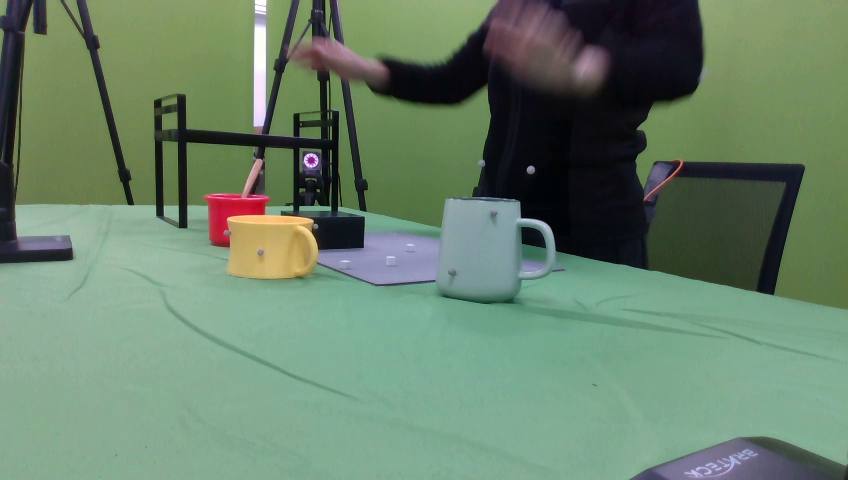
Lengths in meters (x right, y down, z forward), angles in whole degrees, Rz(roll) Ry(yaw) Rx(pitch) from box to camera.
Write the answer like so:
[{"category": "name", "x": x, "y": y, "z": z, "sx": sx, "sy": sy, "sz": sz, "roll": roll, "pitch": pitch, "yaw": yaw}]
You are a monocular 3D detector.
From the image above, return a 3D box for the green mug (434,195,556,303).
[{"category": "green mug", "x": 0.074, "y": 0.009, "z": 0.624, "sx": 0.125, "sy": 0.105, "sz": 0.093, "roll": 6, "pitch": 7, "yaw": 23}]

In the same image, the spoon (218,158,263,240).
[{"category": "spoon", "x": -0.287, "y": -0.070, "z": 0.974, "sx": 0.041, "sy": 0.021, "sz": 0.193, "roll": 5, "pitch": 51, "yaw": 2}]

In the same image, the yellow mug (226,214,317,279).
[{"category": "yellow mug", "x": -0.172, "y": 0.007, "z": 0.717, "sx": 0.130, "sy": 0.064, "sz": 0.100, "roll": 8, "pitch": 9, "yaw": 36}]
